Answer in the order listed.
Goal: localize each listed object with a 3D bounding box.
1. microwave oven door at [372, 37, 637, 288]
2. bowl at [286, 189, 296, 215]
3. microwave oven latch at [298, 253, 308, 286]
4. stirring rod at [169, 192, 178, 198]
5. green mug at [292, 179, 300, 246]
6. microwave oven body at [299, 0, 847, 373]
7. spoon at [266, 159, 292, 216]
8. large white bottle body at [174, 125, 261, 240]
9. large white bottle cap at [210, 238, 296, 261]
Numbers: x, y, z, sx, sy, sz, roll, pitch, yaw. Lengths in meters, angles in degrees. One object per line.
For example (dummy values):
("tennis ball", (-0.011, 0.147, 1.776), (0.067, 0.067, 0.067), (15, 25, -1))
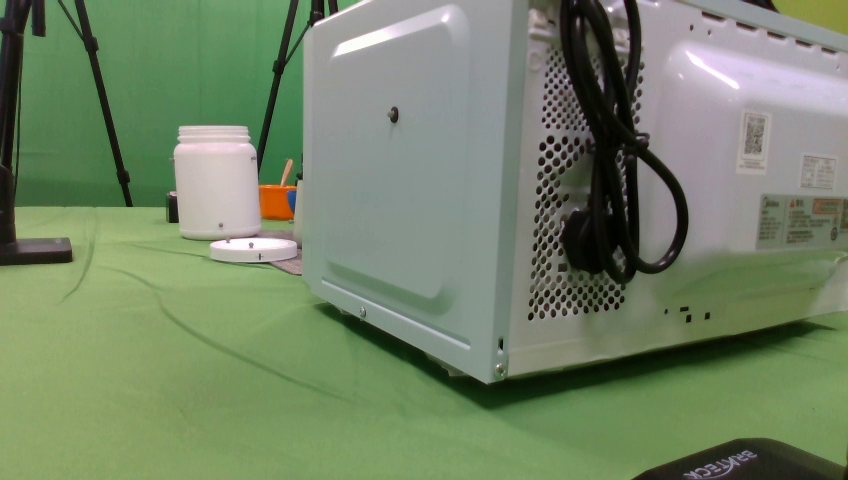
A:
("microwave oven door", (0.110, -0.080, 0.686), (0.358, 0.243, 0.039), (-2, 9, -33))
("bowl", (-0.179, -0.051, 1.115), (0.151, 0.077, 0.151), (3, 8, 0))
("microwave oven latch", (-0.081, 0.027, 0.582), (0.079, 0.029, 0.030), (-2, 7, -32))
("stirring rod", (-0.465, -0.098, 1.283), (0.014, 0.006, 0.177), (42, 21, 17))
("green mug", (-0.142, -0.041, 0.942), (0.126, 0.105, 0.092), (-2, 8, -33))
("microwave oven body", (0.152, -0.055, 0.542), (0.444, 0.260, 0.324), (-2, 7, -33))
("spoon", (-0.334, -0.127, 1.423), (0.041, 0.193, 0.022), (0, -38, 7))
("large white bottle body", (-0.349, -0.100, 1.025), (0.131, 0.184, 0.130), (-1, 9, 0))
("large white bottle cap", (-0.236, 0.012, 0.839), (0.115, 0.018, 0.115), (1, 7, 0))
